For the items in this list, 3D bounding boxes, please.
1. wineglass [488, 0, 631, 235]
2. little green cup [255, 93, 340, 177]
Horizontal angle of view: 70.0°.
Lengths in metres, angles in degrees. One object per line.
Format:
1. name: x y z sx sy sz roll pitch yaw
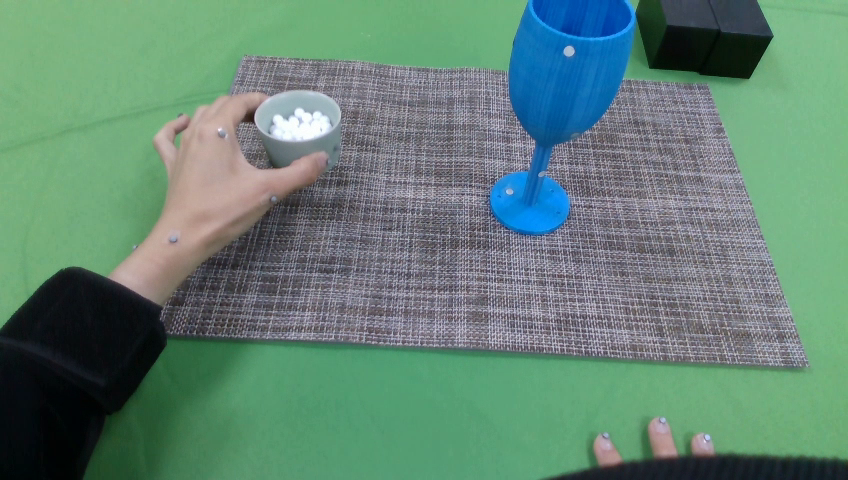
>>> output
1. wineglass: 0.086 -0.081 0.419 0.074 0.173 0.073 1 53 -1
2. little green cup: -0.092 -0.077 0.450 0.061 0.039 0.061 2 46 -1
